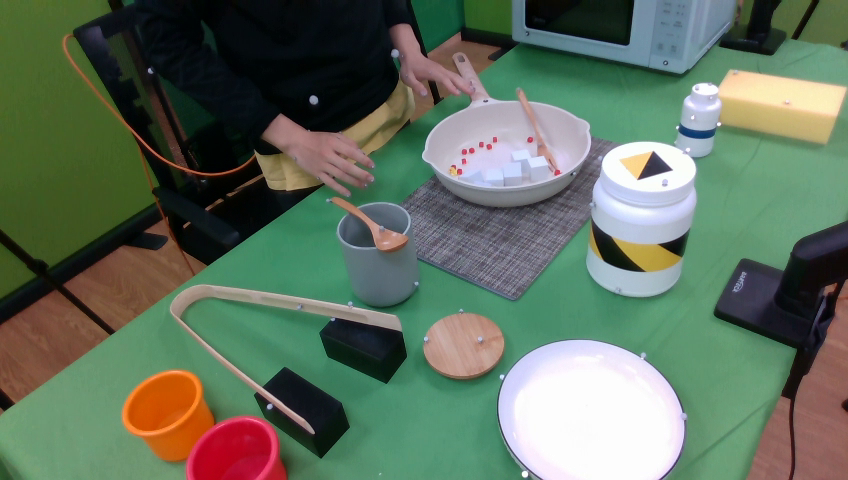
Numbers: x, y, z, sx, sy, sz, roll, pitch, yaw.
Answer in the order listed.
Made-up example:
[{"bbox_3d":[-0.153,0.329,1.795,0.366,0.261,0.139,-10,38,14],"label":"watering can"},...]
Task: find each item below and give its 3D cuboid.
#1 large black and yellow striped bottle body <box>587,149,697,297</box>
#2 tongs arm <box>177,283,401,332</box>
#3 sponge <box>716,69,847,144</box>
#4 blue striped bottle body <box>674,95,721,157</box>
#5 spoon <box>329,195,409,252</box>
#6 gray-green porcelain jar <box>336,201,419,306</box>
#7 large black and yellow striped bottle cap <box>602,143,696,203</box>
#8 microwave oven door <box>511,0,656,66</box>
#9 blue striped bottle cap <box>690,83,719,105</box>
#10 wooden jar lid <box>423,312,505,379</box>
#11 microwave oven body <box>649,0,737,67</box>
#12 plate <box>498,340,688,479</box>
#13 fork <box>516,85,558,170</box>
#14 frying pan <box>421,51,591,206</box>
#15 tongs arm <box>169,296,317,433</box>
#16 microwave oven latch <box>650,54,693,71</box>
[{"bbox_3d":[0.298,-0.026,0.835,0.131,0.185,0.130,-4,41,4],"label":"large black and yellow striped bottle body"},{"bbox_3d":[-0.199,0.096,0.823,0.382,0.027,0.051,7,45,33],"label":"tongs arm"},{"bbox_3d":[0.663,-0.256,1.142,0.205,0.061,0.118,19,47,28],"label":"sponge"},{"bbox_3d":[0.486,-0.213,1.071,0.063,0.121,0.063,-4,41,4],"label":"blue striped bottle body"},{"bbox_3d":[-0.082,-0.029,0.828,0.042,0.022,0.192,-32,43,-20],"label":"spoon"},{"bbox_3d":[-0.064,0.024,0.872,0.106,0.127,0.105,-4,41,4],"label":"gray-green porcelain jar"},{"bbox_3d":[0.289,-0.088,0.779,0.115,0.019,0.114,-5,39,4],"label":"large black and yellow striped bottle cap"},{"bbox_3d":[0.351,-0.539,1.349,0.353,0.245,0.039,24,50,31],"label":"microwave oven door"},{"bbox_3d":[0.481,-0.251,1.038,0.044,0.021,0.044,-5,40,5],"label":"blue striped bottle cap"},{"bbox_3d":[0.053,0.142,0.800,0.108,0.021,0.108,-4,39,4],"label":"wooden jar lid"},{"bbox_3d":[0.475,-0.602,1.411,0.438,0.261,0.327,23,50,32],"label":"microwave oven body"},{"bbox_3d":[0.189,0.206,0.692,0.207,0.039,0.206,-4,40,4],"label":"plate"},{"bbox_3d":[0.208,-0.213,1.134,0.028,0.019,0.206,-16,66,1],"label":"fork"},{"bbox_3d":[0.127,-0.233,1.154,0.307,0.103,0.484,-11,49,-5],"label":"frying pan"},{"bbox_3d":[-0.248,0.149,0.775,0.384,0.028,0.028,21,57,44],"label":"tongs arm"},{"bbox_3d":[0.531,-0.386,1.301,0.078,0.029,0.030,26,51,33],"label":"microwave oven latch"}]
